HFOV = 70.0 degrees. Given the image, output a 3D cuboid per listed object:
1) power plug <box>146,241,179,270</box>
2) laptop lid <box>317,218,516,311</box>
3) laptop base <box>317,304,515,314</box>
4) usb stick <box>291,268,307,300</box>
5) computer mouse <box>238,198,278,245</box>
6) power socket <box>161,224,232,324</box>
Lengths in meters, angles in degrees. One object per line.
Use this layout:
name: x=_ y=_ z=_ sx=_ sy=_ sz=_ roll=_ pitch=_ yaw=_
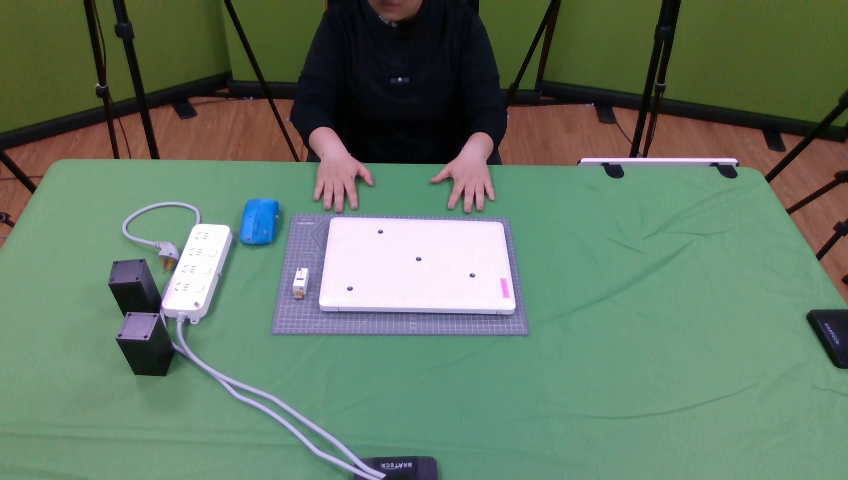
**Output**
power plug: x=-0.489 y=0.030 z=1.130 sx=0.072 sy=0.035 sz=0.052 roll=-1 pitch=64 yaw=26
laptop lid: x=-0.013 y=0.040 z=1.143 sx=0.357 sy=0.013 sz=0.240 roll=3 pitch=43 yaw=-2
laptop base: x=-0.014 y=0.049 z=1.150 sx=0.354 sy=0.023 sz=0.234 roll=1 pitch=42 yaw=-3
usb stick: x=-0.227 y=0.081 z=1.094 sx=0.021 sy=0.027 sz=0.059 roll=5 pitch=48 yaw=-2
computer mouse: x=-0.328 y=-0.039 z=1.200 sx=0.063 sy=0.041 sz=0.116 roll=4 pitch=50 yaw=-4
power socket: x=-0.412 y=0.053 z=1.106 sx=0.072 sy=0.033 sz=0.225 roll=4 pitch=46 yaw=-1
